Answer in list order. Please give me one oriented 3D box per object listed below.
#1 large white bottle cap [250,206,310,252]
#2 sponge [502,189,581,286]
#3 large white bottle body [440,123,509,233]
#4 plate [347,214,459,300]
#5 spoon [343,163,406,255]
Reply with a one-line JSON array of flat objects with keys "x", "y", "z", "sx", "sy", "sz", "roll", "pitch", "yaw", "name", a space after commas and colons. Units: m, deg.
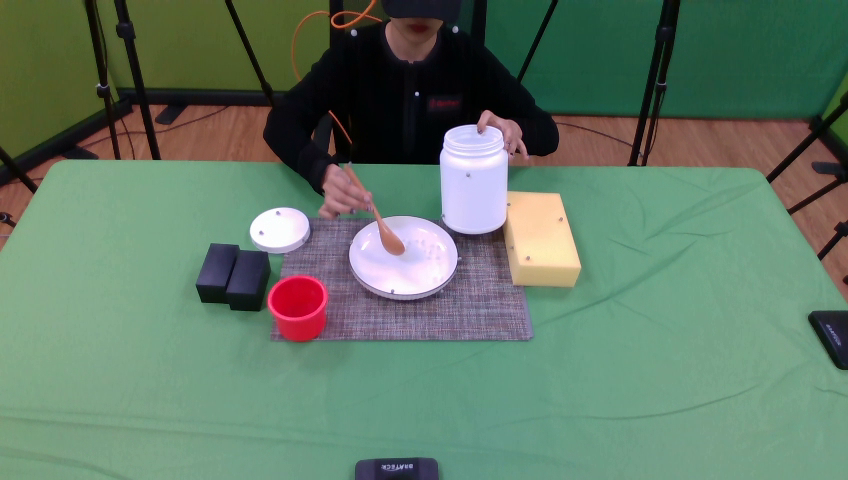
[{"x": -0.284, "y": -0.023, "z": 1.197, "sx": 0.115, "sy": 0.018, "sz": 0.114, "roll": 1, "pitch": 46, "yaw": -1, "name": "large white bottle cap"}, {"x": 0.224, "y": -0.007, "z": 1.192, "sx": 0.118, "sy": 0.061, "sz": 0.205, "roll": 1, "pitch": 47, "yaw": -6, "name": "sponge"}, {"x": 0.097, "y": -0.121, "z": 1.170, "sx": 0.130, "sy": 0.185, "sz": 0.130, "roll": -2, "pitch": 31, "yaw": 2, "name": "large white bottle body"}, {"x": -0.040, "y": 0.034, "z": 1.146, "sx": 0.209, "sy": 0.038, "sz": 0.208, "roll": 2, "pitch": 47, "yaw": -2, "name": "plate"}, {"x": -0.093, "y": -0.056, "z": 1.097, "sx": 0.194, "sy": 0.041, "sz": 0.021, "roll": 60, "pitch": 35, "yaw": -3, "name": "spoon"}]
